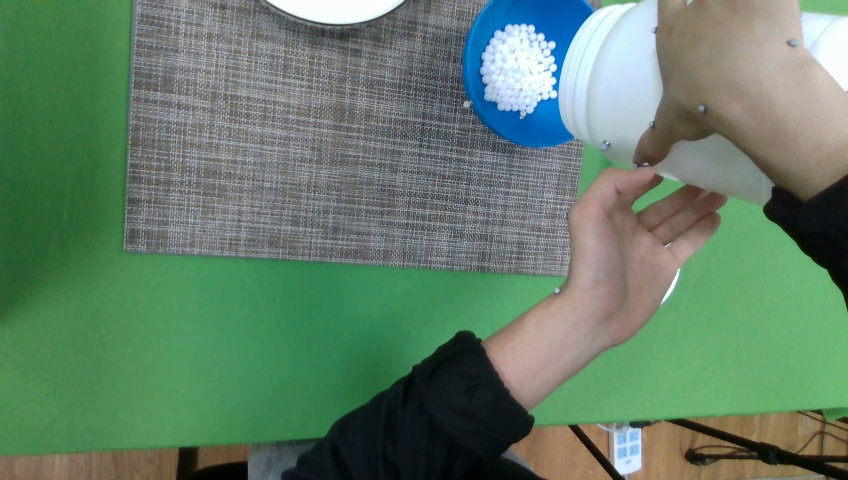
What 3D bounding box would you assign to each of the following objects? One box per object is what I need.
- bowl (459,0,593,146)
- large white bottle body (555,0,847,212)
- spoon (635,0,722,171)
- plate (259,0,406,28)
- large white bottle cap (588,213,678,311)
[{"bbox_3d":[0.096,-0.167,0.593,0.152,0.076,0.151,-2,98,-17],"label":"bowl"},{"bbox_3d":[0.203,-0.108,0.451,0.131,0.183,0.131,-24,127,-36],"label":"large white bottle body"},{"bbox_3d":[0.262,-0.164,0.634,0.042,0.021,0.194,16,97,-23],"label":"spoon"},{"bbox_3d":[-0.089,-0.292,0.538,0.210,0.038,0.209,-1,95,-18],"label":"plate"},{"bbox_3d":[0.243,0.026,0.703,0.115,0.018,0.115,-3,99,-19],"label":"large white bottle cap"}]
